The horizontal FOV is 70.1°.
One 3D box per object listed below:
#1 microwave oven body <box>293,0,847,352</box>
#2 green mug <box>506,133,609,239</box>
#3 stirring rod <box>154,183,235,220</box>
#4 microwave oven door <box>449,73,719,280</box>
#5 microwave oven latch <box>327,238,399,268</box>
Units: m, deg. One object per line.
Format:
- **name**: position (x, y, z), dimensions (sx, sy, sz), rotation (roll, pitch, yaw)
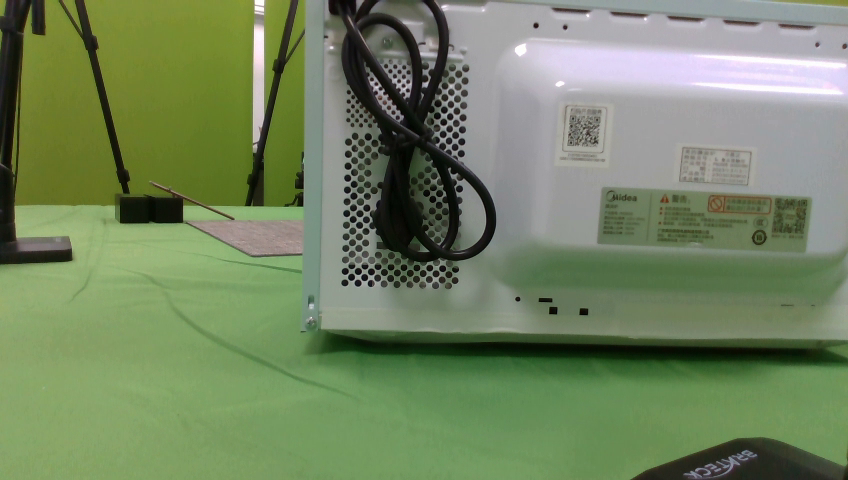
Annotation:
- **microwave oven body**: position (0.122, -0.055, 0.550), dimensions (0.442, 0.260, 0.325), rotation (3, 7, -5)
- **green mug**: position (0.137, -0.056, 0.649), dimensions (0.093, 0.105, 0.124), rotation (-1, 4, -41)
- **stirring rod**: position (-0.472, -0.079, 1.252), dimensions (0.177, 0.006, 0.014), rotation (27, 3, -35)
- **microwave oven door**: position (0.192, -0.091, 0.812), dimensions (0.354, 0.243, 0.039), rotation (8, 8, 37)
- **microwave oven latch**: position (-0.069, 0.015, 0.694), dimensions (0.079, 0.029, 0.030), rotation (3, 7, -3)
